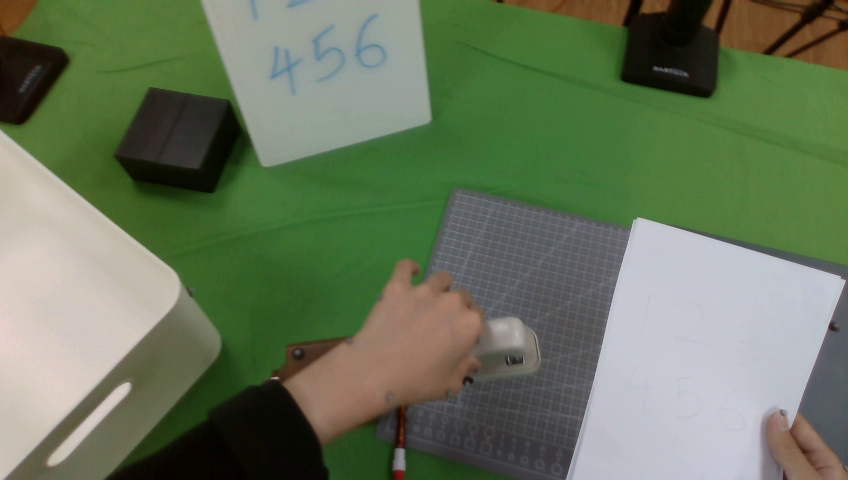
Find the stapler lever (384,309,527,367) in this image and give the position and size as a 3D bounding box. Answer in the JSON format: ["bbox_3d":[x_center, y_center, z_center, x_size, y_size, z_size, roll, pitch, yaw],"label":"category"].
[{"bbox_3d":[0.023,0.078,0.481,0.118,0.040,0.026,-9,60,7],"label":"stapler lever"}]

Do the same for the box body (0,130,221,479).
[{"bbox_3d":[-0.406,0.062,0.561,0.362,0.161,0.253,33,69,14],"label":"box body"}]

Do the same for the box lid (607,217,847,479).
[{"bbox_3d":[0.330,0.156,0.608,0.263,0.015,0.369,14,65,5],"label":"box lid"}]

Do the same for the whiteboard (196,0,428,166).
[{"bbox_3d":[-0.133,-0.273,0.681,0.217,0.308,0.142,-17,46,-8],"label":"whiteboard"}]

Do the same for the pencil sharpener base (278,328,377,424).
[{"bbox_3d":[-0.087,0.129,0.563,0.077,0.108,0.061,-7,64,-3],"label":"pencil sharpener base"}]

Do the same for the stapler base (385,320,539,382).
[{"bbox_3d":[0.029,0.089,0.504,0.130,0.024,0.041,-9,61,7],"label":"stapler base"}]

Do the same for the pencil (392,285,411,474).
[{"bbox_3d":[-0.021,0.135,0.614,0.012,0.012,0.192,2,64,1],"label":"pencil"}]

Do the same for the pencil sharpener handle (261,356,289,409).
[{"bbox_3d":[-0.137,0.133,0.547,0.031,0.068,0.035,-7,48,-3],"label":"pencil sharpener handle"}]
